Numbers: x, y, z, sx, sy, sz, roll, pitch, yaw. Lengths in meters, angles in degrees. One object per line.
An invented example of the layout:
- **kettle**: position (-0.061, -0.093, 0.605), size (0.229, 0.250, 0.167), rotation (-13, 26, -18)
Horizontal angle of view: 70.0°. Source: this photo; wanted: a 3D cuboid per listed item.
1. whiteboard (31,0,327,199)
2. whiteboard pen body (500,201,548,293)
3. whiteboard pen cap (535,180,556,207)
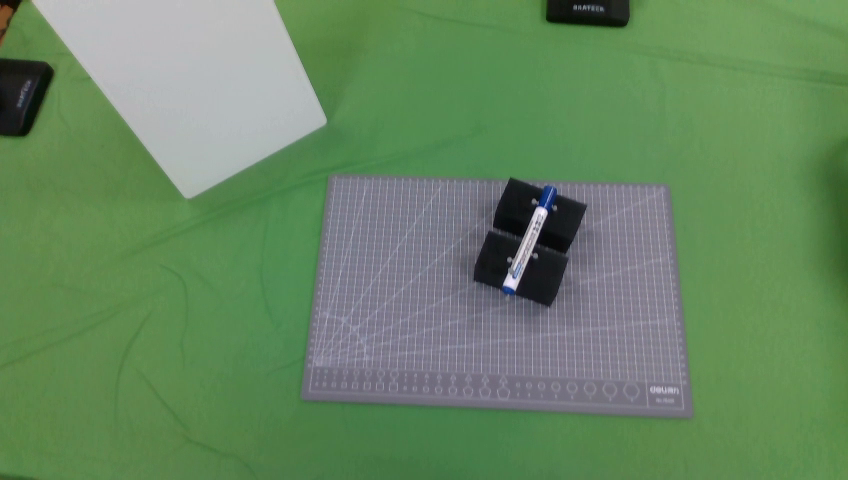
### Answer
- **whiteboard**: position (-0.290, -0.244, 0.746), size (0.217, 0.309, 0.142), rotation (-31, 51, -10)
- **whiteboard pen body**: position (0.121, -0.003, 0.707), size (0.017, 0.017, 0.140), rotation (23, 73, 10)
- **whiteboard pen cap**: position (0.145, -0.054, 0.726), size (0.018, 0.018, 0.033), rotation (22, 73, 10)
